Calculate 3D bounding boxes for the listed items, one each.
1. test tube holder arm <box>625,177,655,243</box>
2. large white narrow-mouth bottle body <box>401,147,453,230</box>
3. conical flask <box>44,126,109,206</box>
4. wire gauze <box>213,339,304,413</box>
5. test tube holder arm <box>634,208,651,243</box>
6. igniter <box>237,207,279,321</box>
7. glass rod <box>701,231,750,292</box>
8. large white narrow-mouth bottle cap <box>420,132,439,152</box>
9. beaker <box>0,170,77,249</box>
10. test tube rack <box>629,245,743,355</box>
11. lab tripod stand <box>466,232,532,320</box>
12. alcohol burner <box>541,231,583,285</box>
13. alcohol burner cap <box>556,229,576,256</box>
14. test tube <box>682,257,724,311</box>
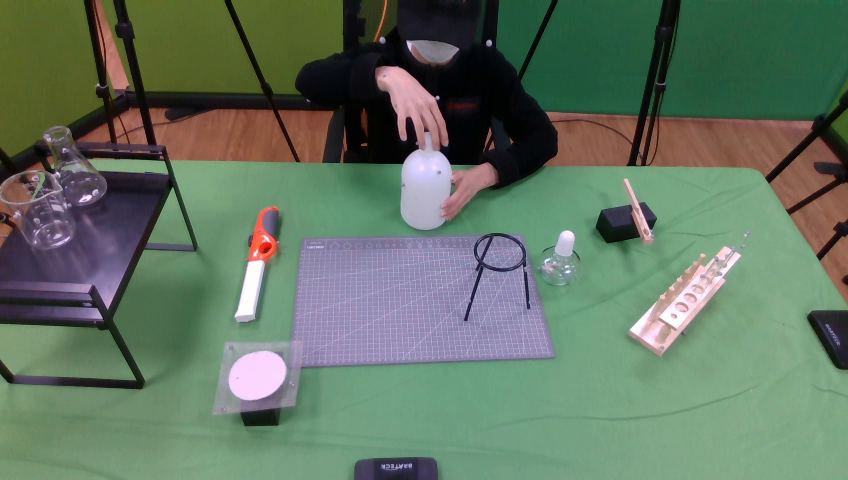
[{"bbox_3d":[0.433,-0.063,1.220,0.013,0.015,0.177,1,47,-3],"label":"test tube holder arm"},{"bbox_3d":[0.006,-0.119,1.191,0.102,0.195,0.101,2,46,-2],"label":"large white narrow-mouth bottle body"},{"bbox_3d":[-0.554,-0.119,0.953,0.075,0.122,0.075,2,46,-2],"label":"conical flask"},{"bbox_3d":[-0.250,0.203,0.925,0.121,0.011,0.124,-1,46,-3],"label":"wire gauze"},{"bbox_3d":[0.428,-0.030,1.189,0.010,0.015,0.087,1,47,-2],"label":"test tube holder arm"},{"bbox_3d":[-0.309,0.035,1.136,0.057,0.025,0.274,-7,45,4],"label":"igniter"},{"bbox_3d":[0.519,0.045,1.050,0.008,0.201,0.008,0,55,0],"label":"glass rod"},{"bbox_3d":[0.011,-0.183,1.123,0.038,0.024,0.037,2,46,-2],"label":"large white narrow-mouth bottle cap"},{"bbox_3d":[-0.562,-0.042,0.894,0.084,0.101,0.073,-2,47,-7],"label":"beaker"},{"bbox_3d":[0.474,0.095,1.091,0.242,0.085,0.066,-34,56,-31],"label":"test tube rack"},{"bbox_3d":[0.125,0.059,1.065,0.148,0.132,0.147,1,45,0],"label":"lab tripod stand"},{"bbox_3d":[0.258,0.028,1.123,0.078,0.120,0.077,1,47,-1],"label":"alcohol burner"},{"bbox_3d":[0.260,0.002,1.098,0.034,0.048,0.033,3,40,-2],"label":"alcohol burner cap"},{"bbox_3d":[0.475,0.080,1.037,0.017,0.151,0.017,2,51,-2],"label":"test tube"}]
